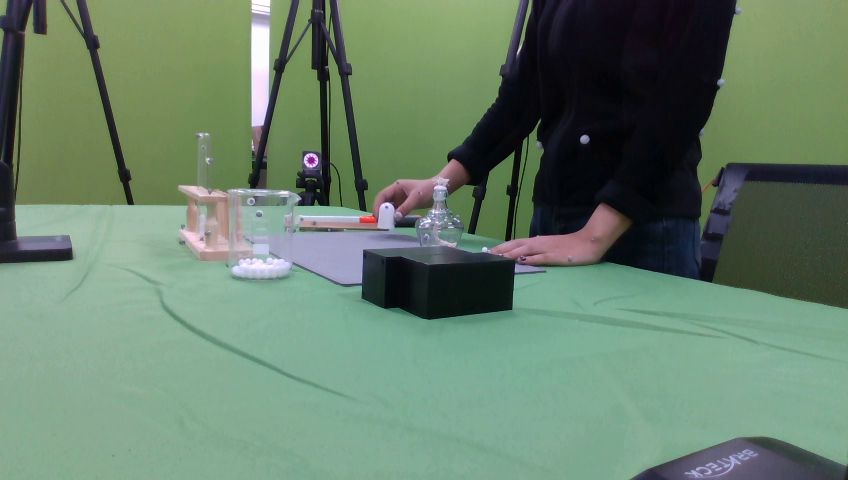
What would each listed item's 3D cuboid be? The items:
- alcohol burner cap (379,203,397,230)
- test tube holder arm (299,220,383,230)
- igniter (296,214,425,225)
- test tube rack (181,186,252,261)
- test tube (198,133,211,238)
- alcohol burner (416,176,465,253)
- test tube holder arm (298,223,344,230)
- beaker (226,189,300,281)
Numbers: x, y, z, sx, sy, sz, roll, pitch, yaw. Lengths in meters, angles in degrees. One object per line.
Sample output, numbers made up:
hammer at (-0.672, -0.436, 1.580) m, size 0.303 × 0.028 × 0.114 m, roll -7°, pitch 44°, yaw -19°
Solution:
alcohol burner cap at (-0.062, -0.043, 1.079) m, size 0.034 × 0.048 × 0.034 m, roll 4°, pitch 9°, yaw 0°
test tube holder arm at (-0.153, -0.028, 1.174) m, size 0.179 × 0.015 × 0.013 m, roll 1°, pitch -26°, yaw -21°
igniter at (-0.129, -0.043, 1.273) m, size 0.278 × 0.025 × 0.057 m, roll -1°, pitch -2°, yaw -26°
test tube rack at (-0.312, -0.031, 0.893) m, size 0.067 × 0.085 × 0.241 m, roll -1°, pitch 8°, yaw -27°
test tube at (-0.316, -0.078, 0.871) m, size 0.017 × 0.150 × 0.017 m, roll 2°, pitch 3°, yaw 0°
alcohol burner at (0.025, -0.040, 0.935) m, size 0.078 × 0.119 × 0.078 m, roll 1°, pitch 6°, yaw 0°
test tube holder arm at (-0.197, -0.026, 1.163) m, size 0.088 × 0.015 × 0.010 m, roll 0°, pitch -26°, yaw -20°
beaker at (-0.184, -0.007, 0.694) m, size 0.084 × 0.100 × 0.073 m, roll -1°, pitch 8°, yaw -29°
